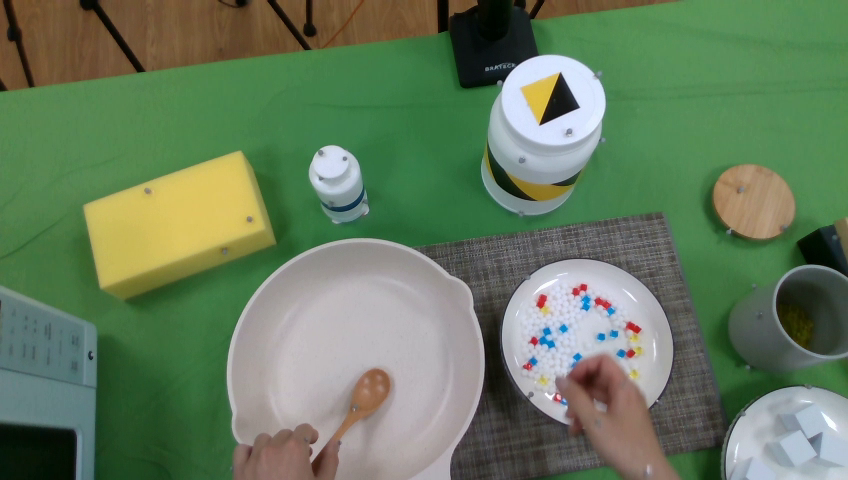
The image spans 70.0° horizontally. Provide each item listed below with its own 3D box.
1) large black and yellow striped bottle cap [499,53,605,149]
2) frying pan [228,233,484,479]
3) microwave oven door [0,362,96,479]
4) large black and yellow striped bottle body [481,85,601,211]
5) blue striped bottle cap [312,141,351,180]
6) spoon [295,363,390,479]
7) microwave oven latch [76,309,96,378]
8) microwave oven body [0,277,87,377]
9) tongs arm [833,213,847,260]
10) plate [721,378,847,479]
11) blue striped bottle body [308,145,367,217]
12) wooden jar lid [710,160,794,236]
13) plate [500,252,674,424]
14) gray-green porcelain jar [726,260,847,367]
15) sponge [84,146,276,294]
[{"bbox_3d":[0.140,-0.155,0.668,0.115,0.019,0.114,0,70,1],"label":"large black and yellow striped bottle cap"},{"bbox_3d":[-0.022,0.216,0.675,0.307,0.103,0.483,-31,66,-8],"label":"frying pan"},{"bbox_3d":[-0.384,0.297,0.560,0.039,0.245,0.353,-8,71,-3],"label":"microwave oven door"},{"bbox_3d":[0.141,-0.127,0.750,0.131,0.185,0.130,0,71,1],"label":"large black and yellow striped bottle body"},{"bbox_3d":[-0.110,-0.095,0.717,0.044,0.021,0.044,-1,69,2],"label":"blue striped bottle cap"},{"bbox_3d":[-0.098,0.215,0.681,0.041,0.022,0.193,35,48,5],"label":"spoon"},{"bbox_3d":[-0.410,0.124,0.724,0.030,0.029,0.078,-7,72,-3],"label":"microwave oven latch"},{"bbox_3d":[-0.533,0.279,0.571,0.326,0.261,0.438,-8,72,-3],"label":"microwave oven body"},{"bbox_3d":[0.567,0.148,0.707,0.051,0.026,0.383,-13,82,-6],"label":"tongs arm"},{"bbox_3d":[0.444,0.266,0.697,0.208,0.039,0.206,0,72,0],"label":"plate"},{"bbox_3d":[-0.109,-0.078,0.766,0.063,0.121,0.062,0,71,0],"label":"blue striped bottle body"},{"bbox_3d":[0.436,-0.055,0.812,0.108,0.021,0.107,0,73,0],"label":"wooden jar lid"},{"bbox_3d":[0.195,0.118,0.742,0.209,0.038,0.208,0,72,1],"label":"plate"},{"bbox_3d":[0.425,0.091,0.708,0.106,0.127,0.105,0,71,0],"label":"gray-green porcelain jar"},{"bbox_3d":[-0.311,-0.026,0.781,0.207,0.061,0.117,-21,73,-7],"label":"sponge"}]
